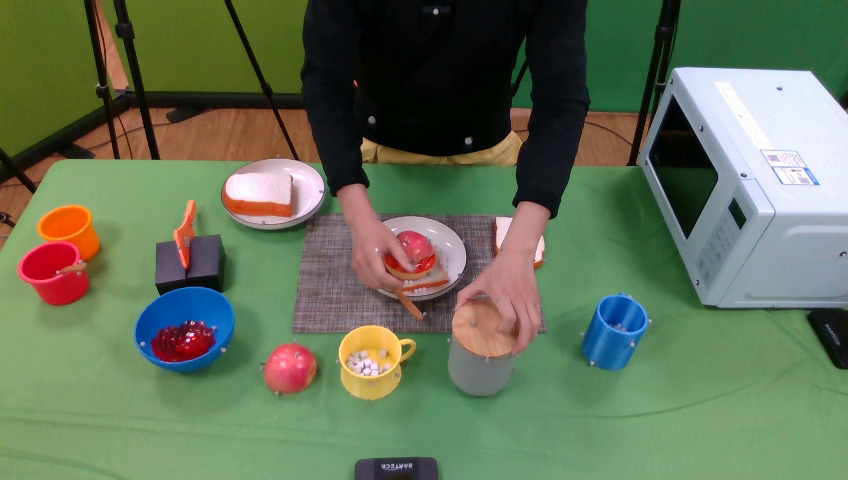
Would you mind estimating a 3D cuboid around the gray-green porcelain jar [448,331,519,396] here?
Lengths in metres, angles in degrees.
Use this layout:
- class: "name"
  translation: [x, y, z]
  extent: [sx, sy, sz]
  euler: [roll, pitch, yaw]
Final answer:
- class: "gray-green porcelain jar"
  translation: [0.093, 0.177, 0.960]
  extent: [0.106, 0.127, 0.105]
  euler: [2, 47, -2]

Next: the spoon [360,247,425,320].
- class: "spoon"
  translation: [-0.057, 0.077, 1.077]
  extent: [0.041, 0.022, 0.192]
  euler: [-45, 51, 2]

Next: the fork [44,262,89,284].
- class: "fork"
  translation: [-0.598, 0.054, 1.014]
  extent: [0.207, 0.019, 0.028]
  euler: [-15, 29, 45]

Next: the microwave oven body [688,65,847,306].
- class: "microwave oven body"
  translation: [0.669, -0.111, 1.176]
  extent: [0.326, 0.261, 0.439]
  euler: [0, 46, -3]

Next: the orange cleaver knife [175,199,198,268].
- class: "orange cleaver knife"
  translation: [-0.438, -0.017, 1.138]
  extent: [0.012, 0.077, 0.210]
  euler: [-13, 27, -7]

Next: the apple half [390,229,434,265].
- class: "apple half"
  translation: [-0.021, 0.003, 1.085]
  extent: [0.081, 0.033, 0.081]
  euler: [8, 45, -8]

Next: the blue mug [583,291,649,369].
- class: "blue mug"
  translation: [0.324, 0.142, 1.023]
  extent: [0.082, 0.106, 0.116]
  euler: [15, 47, 11]

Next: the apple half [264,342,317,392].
- class: "apple half"
  translation: [-0.214, 0.198, 0.970]
  extent: [0.074, 0.053, 0.080]
  euler: [19, 48, 11]

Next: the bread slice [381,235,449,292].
- class: "bread slice"
  translation: [-0.026, 0.039, 1.141]
  extent: [0.107, 0.018, 0.133]
  euler: [-12, 48, -16]

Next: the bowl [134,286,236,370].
- class: "bowl"
  translation: [-0.377, 0.155, 0.981]
  extent: [0.151, 0.077, 0.150]
  euler: [2, 46, -2]

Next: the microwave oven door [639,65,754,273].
- class: "microwave oven door"
  translation: [0.522, -0.147, 1.193]
  extent: [0.039, 0.245, 0.353]
  euler: [0, 47, -3]

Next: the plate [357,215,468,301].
- class: "plate"
  translation: [-0.022, 0.037, 1.141]
  extent: [0.208, 0.039, 0.206]
  euler: [2, 46, -2]

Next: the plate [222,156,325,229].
- class: "plate"
  translation: [-0.308, -0.095, 1.251]
  extent: [0.209, 0.038, 0.208]
  euler: [2, 47, -2]

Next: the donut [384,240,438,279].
- class: "donut"
  translation: [-0.024, 0.029, 1.109]
  extent: [0.099, 0.048, 0.098]
  euler: [2, 46, -2]

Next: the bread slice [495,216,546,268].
- class: "bread slice"
  translation: [0.194, 0.002, 1.204]
  extent: [0.105, 0.019, 0.131]
  euler: [5, 45, 2]

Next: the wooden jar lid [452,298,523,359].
- class: "wooden jar lid"
  translation: [0.095, 0.135, 0.915]
  extent: [0.108, 0.021, 0.107]
  euler: [3, 48, -3]

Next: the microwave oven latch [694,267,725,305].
- class: "microwave oven latch"
  translation: [0.524, 0.082, 1.115]
  extent: [0.030, 0.029, 0.078]
  euler: [4, 46, 1]

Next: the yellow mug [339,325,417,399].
- class: "yellow mug"
  translation: [-0.072, 0.190, 0.978]
  extent: [0.131, 0.064, 0.099]
  euler: [-17, 50, -20]
